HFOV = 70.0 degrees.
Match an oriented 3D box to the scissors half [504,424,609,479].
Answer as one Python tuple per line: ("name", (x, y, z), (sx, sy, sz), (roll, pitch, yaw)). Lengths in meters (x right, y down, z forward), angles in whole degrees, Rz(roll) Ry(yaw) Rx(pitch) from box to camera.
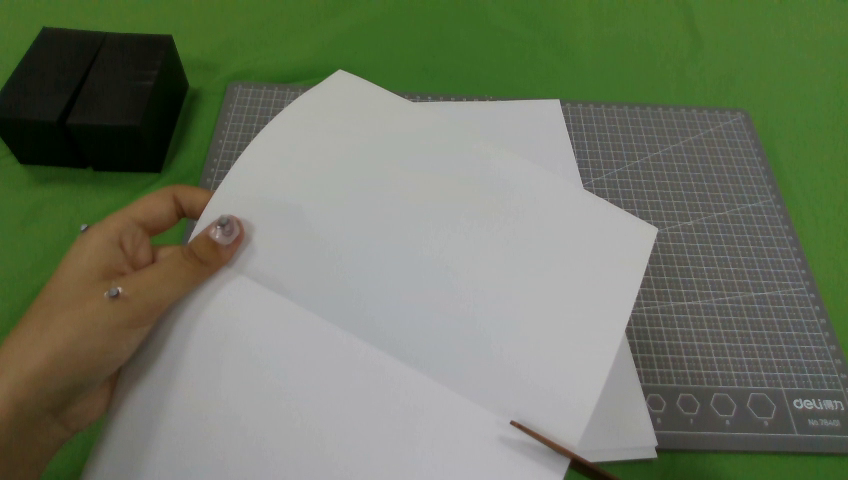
("scissors half", (0.112, 0.115, 0.242), (0.174, 0.040, 0.013), (23, 68, 21))

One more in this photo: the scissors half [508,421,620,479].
("scissors half", (0.111, 0.123, 0.263), (0.175, 0.040, 0.012), (32, 74, -5))
